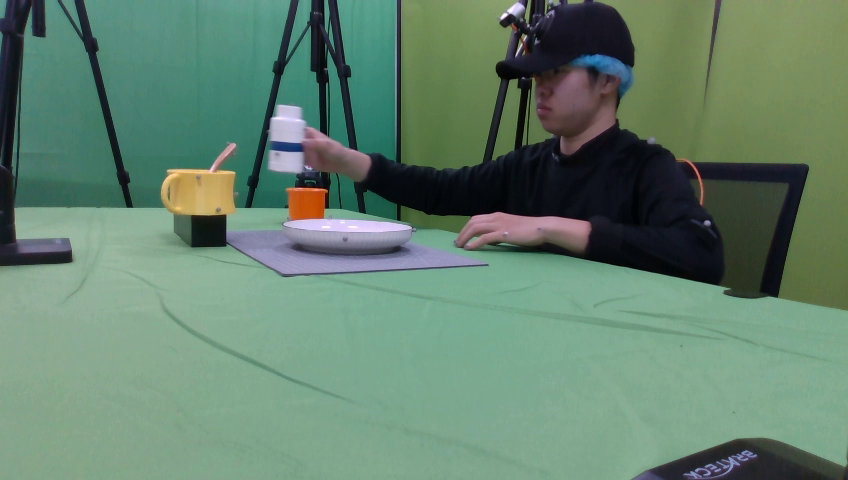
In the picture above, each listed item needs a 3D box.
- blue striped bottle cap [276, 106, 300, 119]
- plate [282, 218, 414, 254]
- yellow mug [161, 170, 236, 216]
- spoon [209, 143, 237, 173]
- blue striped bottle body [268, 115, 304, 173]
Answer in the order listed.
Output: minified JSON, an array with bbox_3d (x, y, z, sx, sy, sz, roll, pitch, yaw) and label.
[{"bbox_3d":[-0.255,-0.240,1.134,0.044,0.020,0.044,5,12,-1],"label":"blue striped bottle cap"},{"bbox_3d":[-0.121,-0.007,0.971,0.208,0.039,0.207,2,7,0],"label":"plate"},{"bbox_3d":[-0.354,-0.074,0.935,0.099,0.064,0.131,5,10,21],"label":"yellow mug"},{"bbox_3d":[-0.341,-0.113,0.990,0.041,0.021,0.193,1,40,7],"label":"spoon"},{"bbox_3d":[-0.259,-0.190,1.141,0.063,0.120,0.063,5,10,-1],"label":"blue striped bottle body"}]
